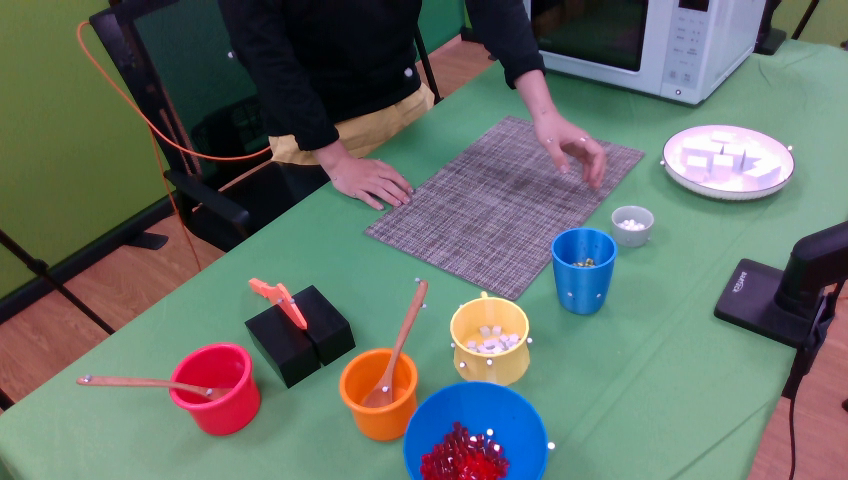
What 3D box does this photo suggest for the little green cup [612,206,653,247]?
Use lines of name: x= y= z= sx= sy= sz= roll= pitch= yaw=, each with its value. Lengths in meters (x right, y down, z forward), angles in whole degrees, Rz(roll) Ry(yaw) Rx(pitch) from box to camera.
little green cup: x=0.321 y=-0.019 z=0.936 sx=0.061 sy=0.039 sz=0.061 roll=-4 pitch=41 yaw=4

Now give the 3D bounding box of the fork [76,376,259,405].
fork: x=-0.295 y=0.176 z=0.716 sx=0.209 sy=0.018 sz=0.028 roll=19 pitch=27 yaw=-36

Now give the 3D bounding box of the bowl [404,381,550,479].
bowl: x=0.058 y=0.235 z=0.645 sx=0.151 sy=0.077 sz=0.150 roll=-4 pitch=39 yaw=4

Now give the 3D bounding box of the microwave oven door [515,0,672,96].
microwave oven door: x=0.343 y=-0.455 z=1.260 sx=0.353 sy=0.245 sz=0.039 roll=26 pitch=51 yaw=33

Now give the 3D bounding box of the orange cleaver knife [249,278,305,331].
orange cleaver knife: x=-0.210 y=0.088 z=0.856 sx=0.012 sy=0.077 sz=0.210 roll=-28 pitch=15 yaw=-25

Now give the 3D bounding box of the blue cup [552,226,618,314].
blue cup: x=0.218 y=0.047 z=0.825 sx=0.092 sy=0.101 sz=0.092 roll=-6 pitch=40 yaw=5

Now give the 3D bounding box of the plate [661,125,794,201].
plate: x=0.513 y=-0.128 z=1.035 sx=0.207 sy=0.039 sz=0.206 roll=-4 pitch=40 yaw=4

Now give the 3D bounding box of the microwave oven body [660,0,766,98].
microwave oven body: x=0.472 y=-0.513 z=1.317 sx=0.438 sy=0.261 sz=0.327 roll=26 pitch=51 yaw=34

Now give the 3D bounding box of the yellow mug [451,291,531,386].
yellow mug: x=0.085 y=0.120 z=0.786 sx=0.100 sy=0.064 sz=0.130 roll=-7 pitch=39 yaw=1

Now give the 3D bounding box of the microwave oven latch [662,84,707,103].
microwave oven latch: x=0.517 y=-0.296 z=1.204 sx=0.078 sy=0.029 sz=0.030 roll=27 pitch=52 yaw=35

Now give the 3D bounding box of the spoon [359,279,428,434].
spoon: x=-0.032 y=0.138 z=0.719 sx=0.041 sy=0.193 sz=0.022 roll=22 pitch=4 yaw=29
